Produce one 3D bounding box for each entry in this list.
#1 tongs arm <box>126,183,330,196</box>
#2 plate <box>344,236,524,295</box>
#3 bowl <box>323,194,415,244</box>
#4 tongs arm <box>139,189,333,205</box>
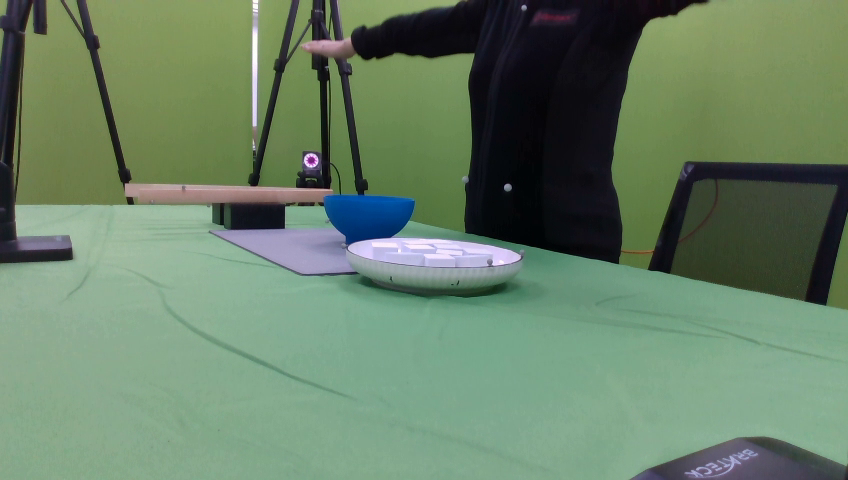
[{"bbox_3d":[-0.380,-0.096,1.211,0.389,0.028,0.028,-1,4,-25],"label":"tongs arm"},{"bbox_3d":[0.010,0.030,0.707,0.208,0.039,0.207,3,8,0],"label":"plate"},{"bbox_3d":[-0.091,-0.032,0.986,0.151,0.077,0.151,2,7,0],"label":"bowl"},{"bbox_3d":[-0.336,-0.084,1.146,0.387,0.026,0.050,-3,9,-38],"label":"tongs arm"}]
